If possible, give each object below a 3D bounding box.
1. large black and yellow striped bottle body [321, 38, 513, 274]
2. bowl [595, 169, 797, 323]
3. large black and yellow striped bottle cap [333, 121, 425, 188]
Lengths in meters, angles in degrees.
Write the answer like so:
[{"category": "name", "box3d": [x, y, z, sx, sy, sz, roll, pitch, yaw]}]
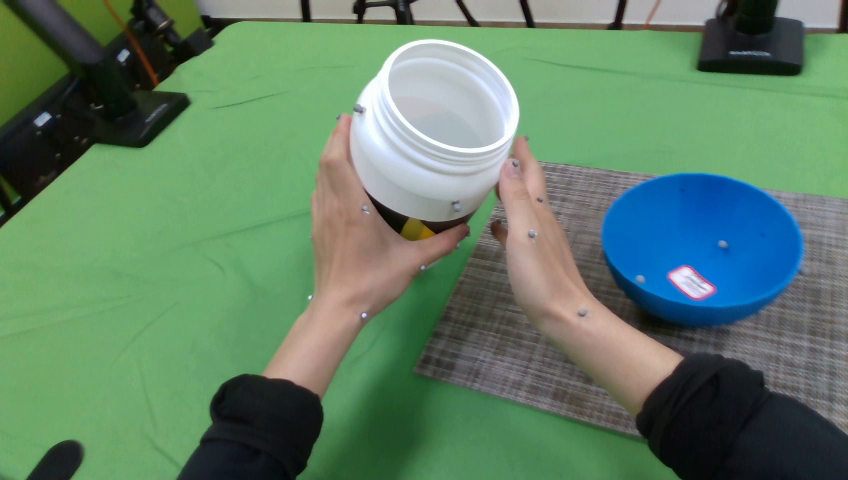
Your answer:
[{"category": "large black and yellow striped bottle body", "box3d": [-0.011, -0.066, 0.518, 0.131, 0.185, 0.129, 9, 58, -15]}, {"category": "bowl", "box3d": [0.221, 0.018, 0.513, 0.151, 0.077, 0.150, -7, 46, 7]}, {"category": "large black and yellow striped bottle cap", "box3d": [-0.056, -0.108, 0.752, 0.115, 0.019, 0.114, -6, 46, 6]}]
